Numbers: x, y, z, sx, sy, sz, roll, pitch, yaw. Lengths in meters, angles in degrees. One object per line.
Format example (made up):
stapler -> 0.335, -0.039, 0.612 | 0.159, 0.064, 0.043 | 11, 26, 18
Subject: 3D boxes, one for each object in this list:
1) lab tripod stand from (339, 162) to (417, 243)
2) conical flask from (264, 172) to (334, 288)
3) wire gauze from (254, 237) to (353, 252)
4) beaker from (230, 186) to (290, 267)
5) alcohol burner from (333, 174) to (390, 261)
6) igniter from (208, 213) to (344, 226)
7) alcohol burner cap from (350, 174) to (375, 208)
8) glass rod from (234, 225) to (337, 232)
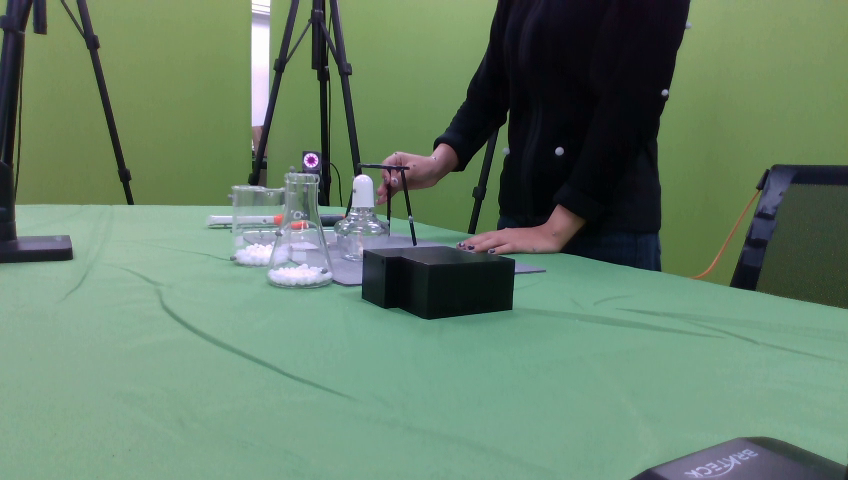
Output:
lab tripod stand -> -0.067, -0.065, 1.027 | 0.148, 0.131, 0.148 | 4, 7, 0
conical flask -> -0.136, -0.013, 0.660 | 0.075, 0.122, 0.075 | 2, 7, 0
wire gauze -> -0.188, 0.004, 0.940 | 0.122, 0.011, 0.124 | -2, 6, -34
beaker -> -0.209, -0.019, 0.778 | 0.074, 0.100, 0.084 | 3, 6, 4
alcohol burner -> -0.085, -0.031, 0.832 | 0.078, 0.119, 0.078 | 3, 5, 0
igniter -> -0.283, -0.040, 1.200 | 0.278, 0.025, 0.057 | -2, -2, -34
alcohol burner cap -> -0.085, -0.067, 0.829 | 0.034, 0.048, 0.034 | 0, 2, 0
glass rod -> -0.256, -0.023, 1.137 | 0.201, 0.008, 0.008 | -3, 9, -33
